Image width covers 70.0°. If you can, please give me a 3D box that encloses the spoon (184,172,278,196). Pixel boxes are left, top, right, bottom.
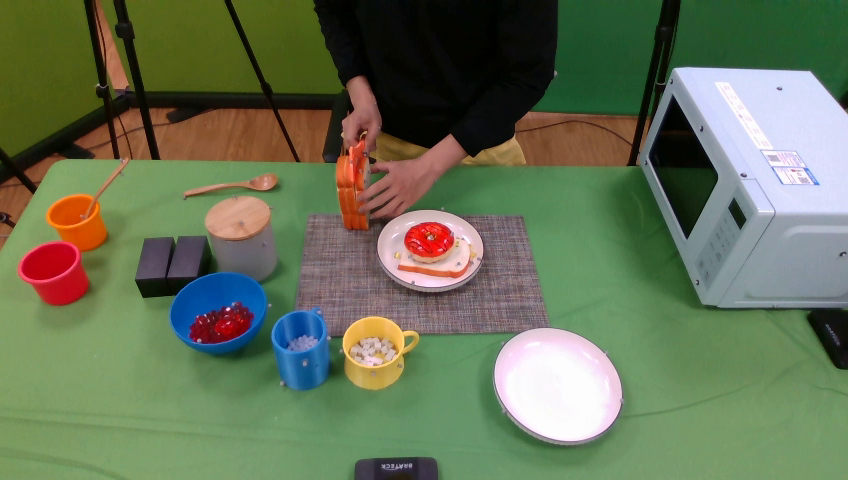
[{"bbox_3d":[-0.405,-0.116,1.275,0.194,0.022,0.041,-8,66,-12],"label":"spoon"}]

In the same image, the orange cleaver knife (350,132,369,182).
[{"bbox_3d":[-0.129,-0.170,1.214,0.012,0.077,0.210,0,21,3],"label":"orange cleaver knife"}]

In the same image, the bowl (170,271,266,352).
[{"bbox_3d":[-0.334,0.132,1.006,0.151,0.077,0.150,2,46,-2],"label":"bowl"}]

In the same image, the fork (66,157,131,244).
[{"bbox_3d":[-0.608,-0.074,1.132,0.207,0.019,0.028,-52,48,10],"label":"fork"}]

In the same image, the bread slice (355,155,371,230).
[{"bbox_3d":[-0.121,-0.100,1.206,0.018,0.135,0.106,2,48,1],"label":"bread slice"}]

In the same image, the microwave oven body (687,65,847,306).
[{"bbox_3d":[0.669,-0.111,1.176,0.326,0.261,0.439,0,46,-3],"label":"microwave oven body"}]

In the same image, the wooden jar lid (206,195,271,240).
[{"bbox_3d":[-0.319,-0.036,1.046,0.108,0.021,0.107,1,44,0],"label":"wooden jar lid"}]

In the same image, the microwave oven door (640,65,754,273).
[{"bbox_3d":[0.523,-0.147,1.193,0.039,0.245,0.353,0,47,-3],"label":"microwave oven door"}]

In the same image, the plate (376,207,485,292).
[{"bbox_3d":[0.012,0.021,1.159,0.209,0.038,0.208,2,47,-2],"label":"plate"}]

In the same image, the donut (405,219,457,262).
[{"bbox_3d":[0.012,-0.001,1.140,0.099,0.048,0.098,0,44,0],"label":"donut"}]

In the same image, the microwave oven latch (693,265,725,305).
[{"bbox_3d":[0.522,0.081,1.115,0.030,0.029,0.078,2,46,-1],"label":"microwave oven latch"}]

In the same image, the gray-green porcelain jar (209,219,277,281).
[{"bbox_3d":[-0.323,0.007,1.092,0.106,0.127,0.105,2,46,-2],"label":"gray-green porcelain jar"}]

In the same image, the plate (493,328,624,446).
[{"bbox_3d":[0.213,0.236,0.974,0.208,0.039,0.206,2,46,-2],"label":"plate"}]

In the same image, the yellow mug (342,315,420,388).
[{"bbox_3d":[-0.068,0.177,0.990,0.131,0.064,0.099,-15,50,-19],"label":"yellow mug"}]

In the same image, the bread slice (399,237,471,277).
[{"bbox_3d":[0.026,0.025,1.161,0.131,0.019,0.104,6,47,8],"label":"bread slice"}]

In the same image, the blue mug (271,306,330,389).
[{"bbox_3d":[-0.188,0.163,0.969,0.082,0.106,0.116,15,47,10],"label":"blue mug"}]
